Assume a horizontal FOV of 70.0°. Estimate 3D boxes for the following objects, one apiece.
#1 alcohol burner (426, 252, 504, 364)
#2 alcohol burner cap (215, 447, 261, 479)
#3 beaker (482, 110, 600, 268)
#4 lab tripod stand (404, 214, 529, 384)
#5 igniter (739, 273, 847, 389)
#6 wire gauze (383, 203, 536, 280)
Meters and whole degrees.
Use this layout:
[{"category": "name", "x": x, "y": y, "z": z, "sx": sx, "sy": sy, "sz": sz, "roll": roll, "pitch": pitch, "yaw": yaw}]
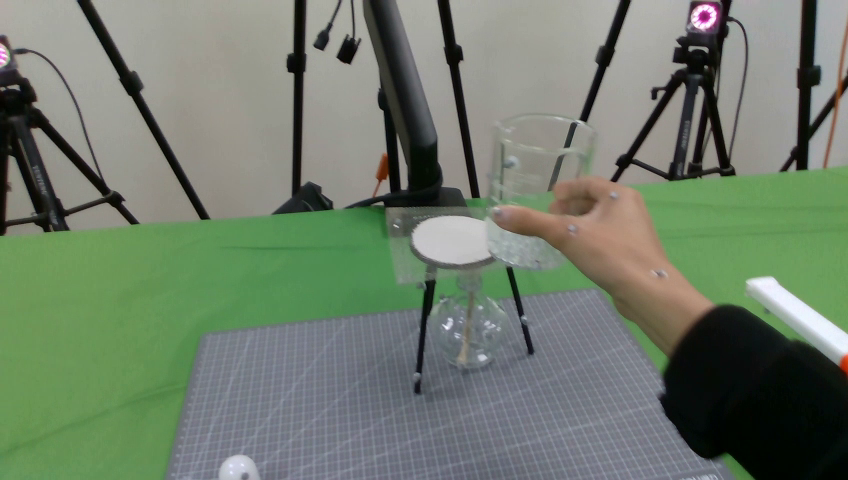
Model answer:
[{"category": "alcohol burner", "x": 0.041, "y": 0.061, "z": 0.589, "sx": 0.078, "sy": 0.120, "sz": 0.077, "roll": 0, "pitch": 32, "yaw": 0}, {"category": "alcohol burner cap", "x": -0.143, "y": 0.180, "z": 0.464, "sx": 0.034, "sy": 0.048, "sz": 0.033, "roll": -1, "pitch": 31, "yaw": 1}, {"category": "beaker", "x": 0.079, "y": -0.038, "z": 0.448, "sx": 0.074, "sy": 0.101, "sz": 0.083, "roll": -22, "pitch": 38, "yaw": -34}, {"category": "lab tripod stand", "x": 0.033, "y": 0.051, "z": 0.587, "sx": 0.148, "sy": 0.132, "sz": 0.147, "roll": 0, "pitch": 29, "yaw": 0}, {"category": "igniter", "x": 0.361, "y": 0.103, "z": 0.503, "sx": 0.057, "sy": 0.025, "sz": 0.274, "roll": -7, "pitch": 28, "yaw": -8}, {"category": "wire gauze", "x": 0.026, "y": -0.005, "z": 0.549, "sx": 0.122, "sy": 0.011, "sz": 0.124, "roll": -4, "pitch": 31, "yaw": -7}]
